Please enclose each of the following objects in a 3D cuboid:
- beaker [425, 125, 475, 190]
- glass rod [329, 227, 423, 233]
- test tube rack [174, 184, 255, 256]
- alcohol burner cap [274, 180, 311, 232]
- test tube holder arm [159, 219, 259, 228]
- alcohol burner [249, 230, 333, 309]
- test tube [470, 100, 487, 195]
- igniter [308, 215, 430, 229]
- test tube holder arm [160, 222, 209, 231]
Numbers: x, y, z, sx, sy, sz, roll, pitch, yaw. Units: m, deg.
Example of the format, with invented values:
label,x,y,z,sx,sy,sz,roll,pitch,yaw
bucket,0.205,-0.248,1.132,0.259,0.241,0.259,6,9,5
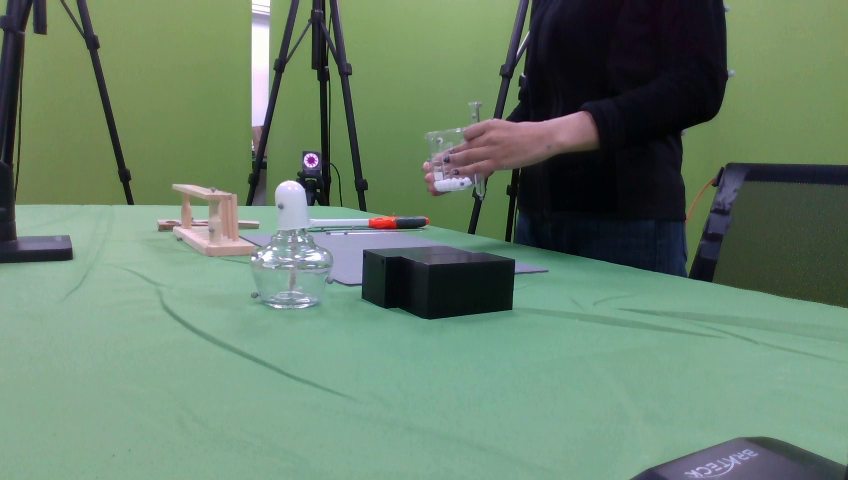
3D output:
label,x,y,z,sx,sy,sz,roll,pitch,yaw
beaker,0.044,-0.137,1.009,0.083,0.100,0.074,-1,13,32
glass rod,-0.087,-0.019,1.148,0.201,0.008,0.008,-3,8,-32
test tube rack,-0.327,-0.036,0.928,0.067,0.085,0.241,-2,9,-32
alcohol burner cap,-0.125,-0.032,0.563,0.034,0.048,0.034,-5,6,1
test tube holder arm,-0.390,-0.030,1.107,0.179,0.015,0.013,-3,44,-39
alcohol burner,-0.125,0.004,0.568,0.078,0.119,0.078,2,10,0
test tube,0.086,-0.145,0.956,0.017,0.150,0.017,-6,17,2
igniter,-0.109,-0.037,1.228,0.278,0.025,0.057,-3,-1,-35
test tube holder arm,-0.423,-0.024,1.075,0.088,0.015,0.010,-3,44,-38
